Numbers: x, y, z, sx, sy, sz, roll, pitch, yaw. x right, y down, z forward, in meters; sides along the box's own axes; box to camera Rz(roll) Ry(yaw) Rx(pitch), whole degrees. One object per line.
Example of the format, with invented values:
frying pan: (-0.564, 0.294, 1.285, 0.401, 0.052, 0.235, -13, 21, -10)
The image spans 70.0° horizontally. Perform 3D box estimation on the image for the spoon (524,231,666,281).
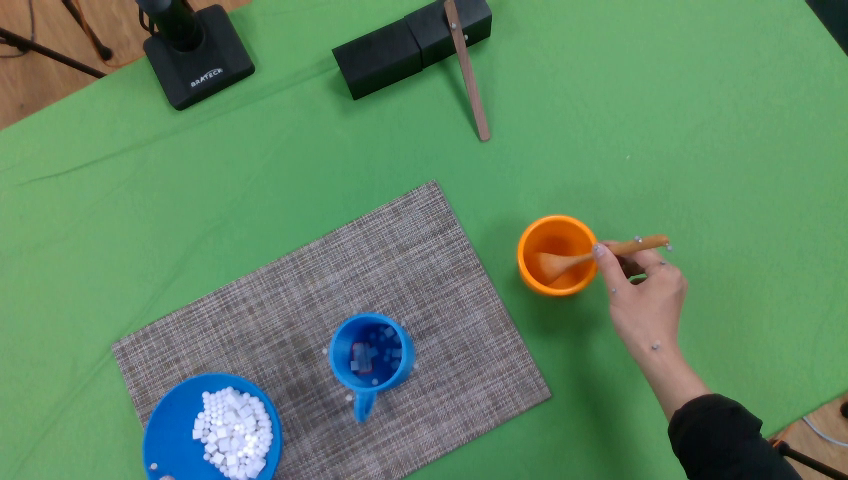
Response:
spoon: (0.175, 0.013, 0.653, 0.022, 0.193, 0.041, -18, 89, -40)

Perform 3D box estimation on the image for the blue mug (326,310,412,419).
blue mug: (-0.061, 0.140, 0.673, 0.082, 0.106, 0.116, 10, 79, 5)

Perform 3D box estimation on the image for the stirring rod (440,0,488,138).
stirring rod: (0.051, -0.214, 0.761, 0.014, 0.006, 0.176, -18, 100, -7)

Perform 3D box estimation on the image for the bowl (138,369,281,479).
bowl: (-0.226, 0.221, 0.678, 0.151, 0.077, 0.150, 0, 79, 3)
